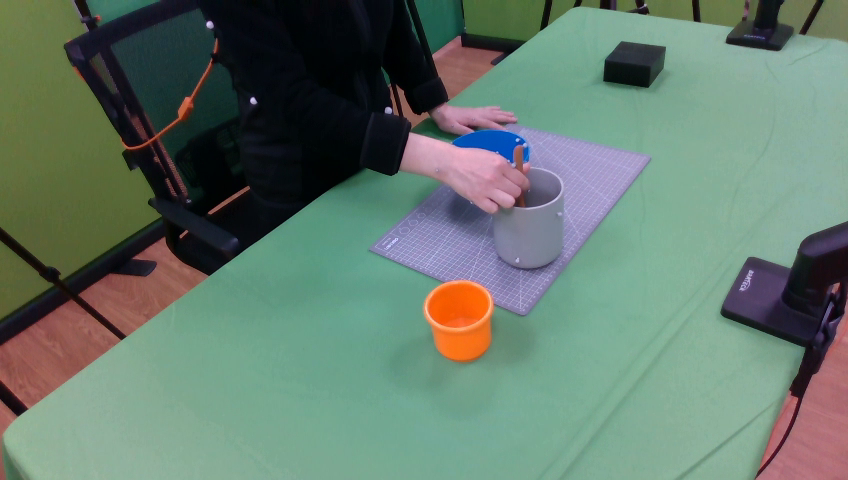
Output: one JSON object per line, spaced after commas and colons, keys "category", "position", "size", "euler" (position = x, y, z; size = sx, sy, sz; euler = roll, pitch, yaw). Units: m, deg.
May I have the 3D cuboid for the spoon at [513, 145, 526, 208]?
{"category": "spoon", "position": [0.138, -0.063, 0.864], "size": [0.041, 0.195, 0.021], "euler": [-7, 47, 8]}

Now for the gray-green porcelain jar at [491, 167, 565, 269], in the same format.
{"category": "gray-green porcelain jar", "position": [0.157, -0.028, 0.904], "size": [0.106, 0.127, 0.105], "euler": [-6, 40, 5]}

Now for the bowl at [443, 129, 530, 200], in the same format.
{"category": "bowl", "position": [0.113, -0.123, 1.063], "size": [0.151, 0.077, 0.150], "euler": [-6, 40, 5]}
